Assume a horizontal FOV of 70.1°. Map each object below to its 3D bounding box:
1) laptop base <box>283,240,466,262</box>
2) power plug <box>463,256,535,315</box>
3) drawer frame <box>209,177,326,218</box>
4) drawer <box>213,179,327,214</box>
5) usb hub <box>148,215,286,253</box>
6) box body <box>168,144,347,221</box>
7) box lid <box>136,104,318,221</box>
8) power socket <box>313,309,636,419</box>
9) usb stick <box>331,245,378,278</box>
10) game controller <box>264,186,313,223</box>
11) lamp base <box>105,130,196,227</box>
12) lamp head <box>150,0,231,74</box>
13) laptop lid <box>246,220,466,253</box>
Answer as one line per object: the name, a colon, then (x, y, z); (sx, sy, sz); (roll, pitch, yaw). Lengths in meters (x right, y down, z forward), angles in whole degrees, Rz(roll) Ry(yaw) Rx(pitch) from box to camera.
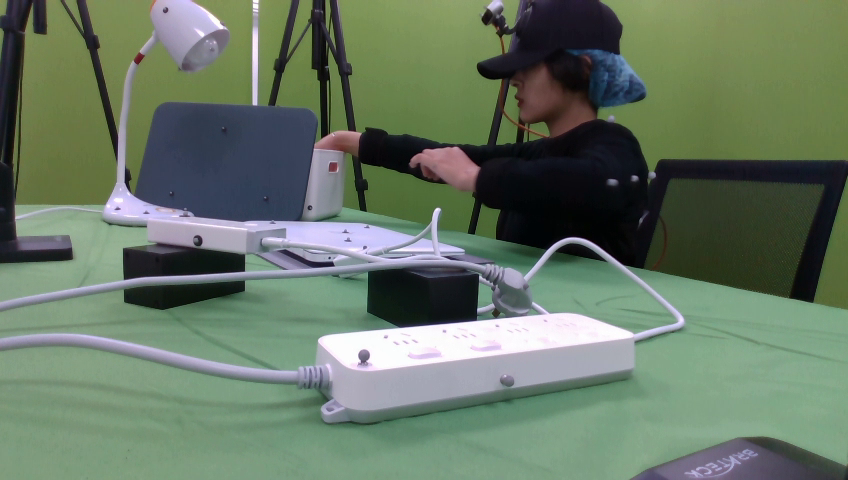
laptop base: (-0.125, 0.003, 0.946); (0.237, 0.023, 0.352); (2, 6, -31)
power plug: (0.064, 0.039, 0.530); (0.072, 0.052, 0.035); (31, 43, 7)
drawer frame: (-0.350, -0.101, 1.392); (0.213, 0.082, 0.201); (1, 8, 3)
drawer: (-0.347, -0.106, 1.398); (0.212, 0.073, 0.194); (2, 8, 4)
usb hub: (-0.197, -0.006, 0.575); (0.125, 0.025, 0.050); (6, 6, 22)
box body: (-0.384, -0.137, 1.407); (0.364, 0.160, 0.254); (3, 8, 8)
box lid: (-0.411, -0.162, 1.266); (0.371, 0.263, 0.015); (3, -15, 9)
power socket: (0.039, 0.072, 0.384); (0.228, 0.032, 0.072); (-2, 7, -28)
usb stick: (-0.085, 0.026, 0.701); (0.059, 0.027, 0.021); (-18, 19, 27)
game controller: (-0.306, -0.090, 1.399); (0.097, 0.051, 0.155); (30, 9, -3)
lamp base: (-0.532, -0.120, 1.153); (0.179, 0.180, 0.161); (1, 7, 8)
lamp head: (-0.432, -0.375, 1.086); (0.123, 0.112, 0.112); (42, 8, -2)
laptop lid: (-0.123, -0.009, 0.945); (0.243, 0.013, 0.355); (1, 7, -29)
